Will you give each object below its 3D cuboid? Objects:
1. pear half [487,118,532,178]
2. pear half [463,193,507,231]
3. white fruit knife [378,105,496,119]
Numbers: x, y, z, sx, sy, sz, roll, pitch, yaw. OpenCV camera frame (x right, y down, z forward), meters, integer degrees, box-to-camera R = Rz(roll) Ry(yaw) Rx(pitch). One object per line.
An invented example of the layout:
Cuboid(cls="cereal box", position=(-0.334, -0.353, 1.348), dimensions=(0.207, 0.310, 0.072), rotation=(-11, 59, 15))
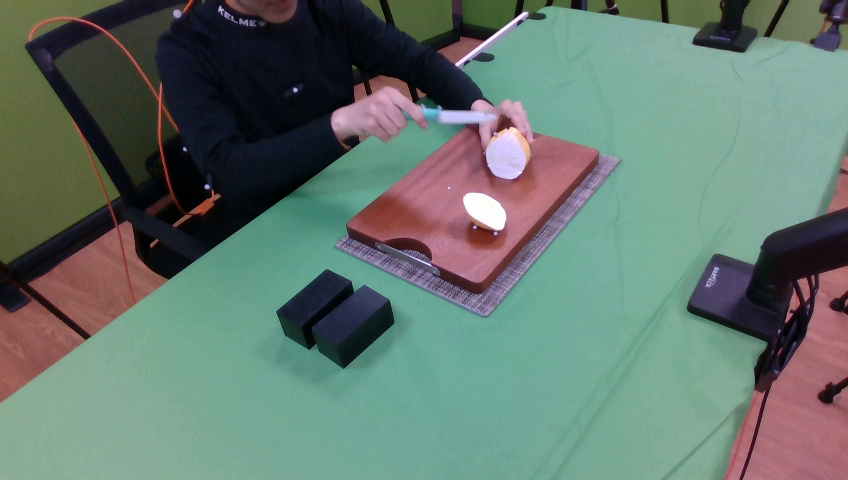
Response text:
Cuboid(cls="pear half", position=(0.148, -0.165, 1.028), dimensions=(0.076, 0.110, 0.056), rotation=(14, 45, 14))
Cuboid(cls="pear half", position=(0.094, -0.038, 0.947), dimensions=(0.071, 0.031, 0.087), rotation=(-8, 51, -25))
Cuboid(cls="white fruit knife", position=(0.017, -0.203, 0.957), dimensions=(0.206, 0.027, 0.016), rotation=(5, 52, 24))
